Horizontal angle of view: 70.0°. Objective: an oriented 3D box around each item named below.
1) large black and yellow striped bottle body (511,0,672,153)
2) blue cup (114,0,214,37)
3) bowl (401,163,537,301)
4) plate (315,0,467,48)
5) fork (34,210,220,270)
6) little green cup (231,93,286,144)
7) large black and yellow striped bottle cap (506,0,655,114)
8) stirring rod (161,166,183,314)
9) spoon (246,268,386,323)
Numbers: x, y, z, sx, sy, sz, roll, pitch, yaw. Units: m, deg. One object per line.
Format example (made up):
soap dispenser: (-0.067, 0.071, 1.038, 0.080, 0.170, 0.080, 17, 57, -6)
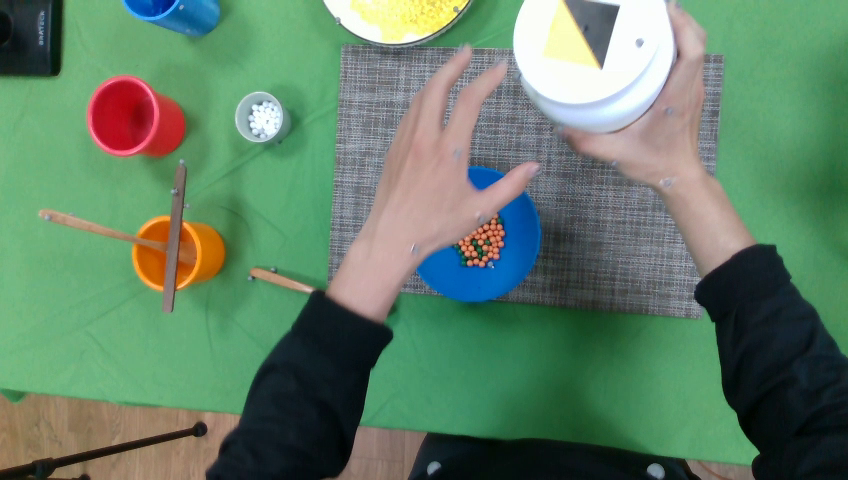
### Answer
large black and yellow striped bottle body: (0.156, -0.158, 0.557, 0.130, 0.185, 0.130, 0, 89, 24)
blue cup: (-0.308, -0.292, 0.737, 0.092, 0.100, 0.092, 0, 92, 11)
bowl: (0.054, -0.009, 0.698, 0.151, 0.077, 0.151, 0, 92, 9)
plate: (-0.037, -0.333, 0.726, 0.209, 0.038, 0.209, 0, 92, 9)
fork: (-0.350, 0.000, 0.729, 0.209, 0.018, 0.028, 20, 98, -35)
little green cup: (-0.204, -0.149, 0.757, 0.061, 0.038, 0.061, 0, 92, 10)
large black and yellow striped bottle cap: (0.122, -0.159, 0.480, 0.114, 0.019, 0.115, 0, 89, 25)
stirring rod: (-0.299, 0.000, 0.718, 0.014, 0.006, 0.176, 6, 93, 7)
spoon: (-0.138, 0.063, 0.762, 0.193, 0.021, 0.042, 15, 107, 8)
